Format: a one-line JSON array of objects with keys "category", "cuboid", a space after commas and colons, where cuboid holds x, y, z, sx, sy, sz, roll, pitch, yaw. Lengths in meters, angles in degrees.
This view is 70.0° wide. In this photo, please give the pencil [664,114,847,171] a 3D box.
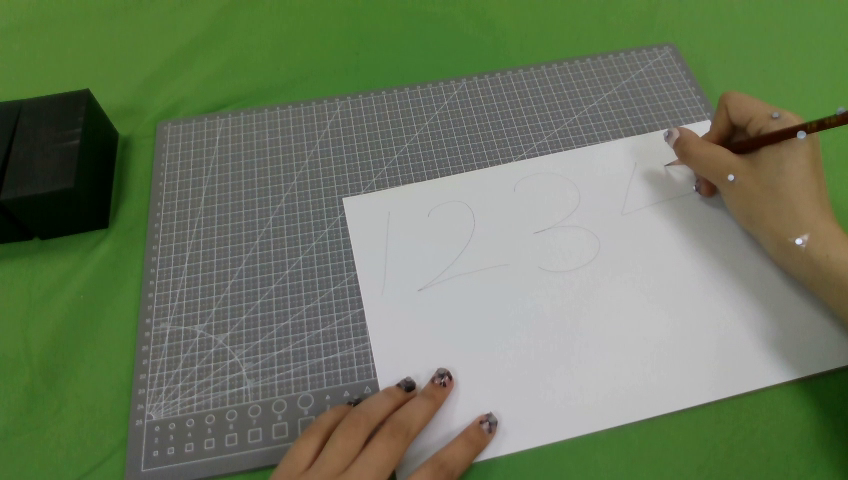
[{"category": "pencil", "cuboid": [0.222, -0.063, 0.372, 0.012, 0.193, 0.012, 3, 83, -24]}]
